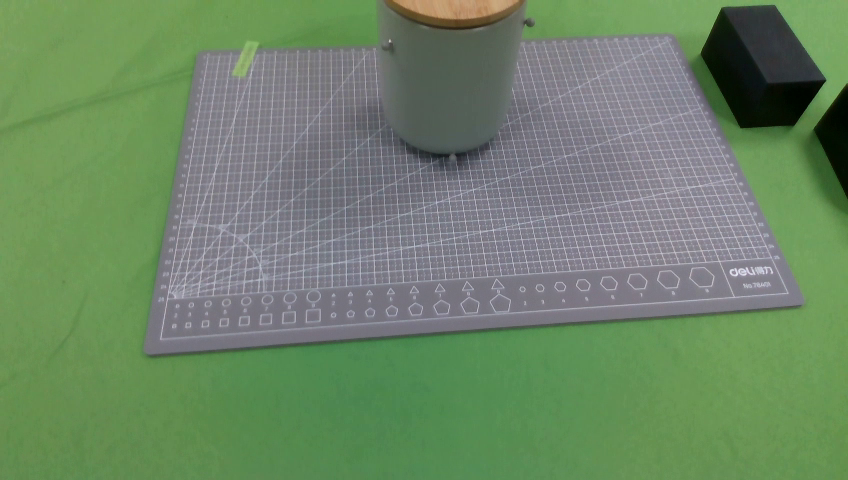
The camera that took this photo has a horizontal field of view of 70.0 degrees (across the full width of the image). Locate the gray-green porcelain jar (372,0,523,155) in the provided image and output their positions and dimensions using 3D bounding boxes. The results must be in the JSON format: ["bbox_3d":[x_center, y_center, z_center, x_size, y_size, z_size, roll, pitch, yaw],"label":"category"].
[{"bbox_3d":[0.015,-0.137,0.464,0.106,0.127,0.105,1,56,-1],"label":"gray-green porcelain jar"}]

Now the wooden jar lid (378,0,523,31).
[{"bbox_3d":[0.017,-0.175,0.411,0.108,0.021,0.107,1,57,-1],"label":"wooden jar lid"}]
